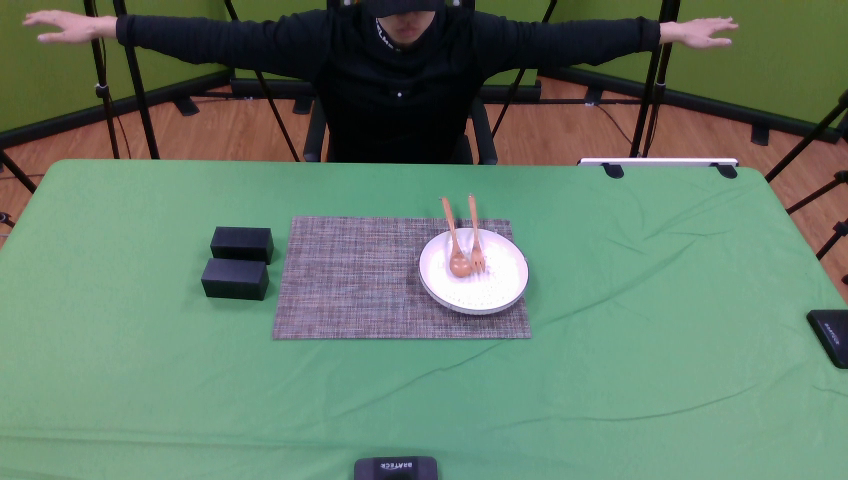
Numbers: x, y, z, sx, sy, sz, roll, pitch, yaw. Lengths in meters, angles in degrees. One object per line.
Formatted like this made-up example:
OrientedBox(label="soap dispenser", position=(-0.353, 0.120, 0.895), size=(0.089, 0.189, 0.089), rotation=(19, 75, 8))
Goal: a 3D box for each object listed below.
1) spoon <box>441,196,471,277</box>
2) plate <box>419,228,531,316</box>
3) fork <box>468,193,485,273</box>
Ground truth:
OrientedBox(label="spoon", position=(0.056, -0.010, 1.176), size=(0.041, 0.022, 0.192), rotation=(-7, 60, -6))
OrientedBox(label="plate", position=(0.093, 0.062, 1.131), size=(0.208, 0.039, 0.206), rotation=(2, 46, -2))
OrientedBox(label="fork", position=(0.099, -0.017, 1.188), size=(0.028, 0.019, 0.206), rotation=(-2, 54, -1))
